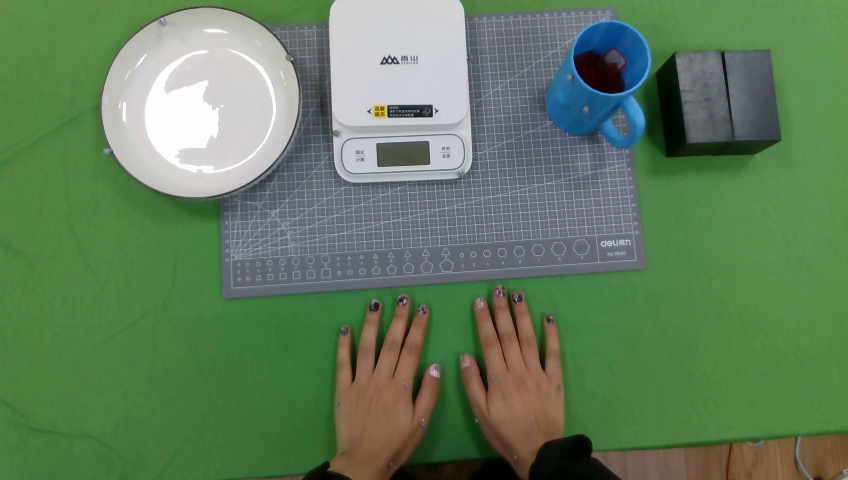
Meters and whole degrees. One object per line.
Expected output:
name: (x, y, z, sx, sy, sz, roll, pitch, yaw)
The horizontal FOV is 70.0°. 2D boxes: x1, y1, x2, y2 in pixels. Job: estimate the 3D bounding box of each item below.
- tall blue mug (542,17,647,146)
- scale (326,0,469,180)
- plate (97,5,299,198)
tall blue mug: (0.183, -0.156, 0.620, 0.107, 0.108, 0.077, 33, 82, 3)
scale: (-0.029, -0.167, 0.653, 0.149, 0.031, 0.200, -2, 83, -2)
plate: (-0.233, -0.143, 0.641, 0.209, 0.038, 0.208, 0, 83, 0)
